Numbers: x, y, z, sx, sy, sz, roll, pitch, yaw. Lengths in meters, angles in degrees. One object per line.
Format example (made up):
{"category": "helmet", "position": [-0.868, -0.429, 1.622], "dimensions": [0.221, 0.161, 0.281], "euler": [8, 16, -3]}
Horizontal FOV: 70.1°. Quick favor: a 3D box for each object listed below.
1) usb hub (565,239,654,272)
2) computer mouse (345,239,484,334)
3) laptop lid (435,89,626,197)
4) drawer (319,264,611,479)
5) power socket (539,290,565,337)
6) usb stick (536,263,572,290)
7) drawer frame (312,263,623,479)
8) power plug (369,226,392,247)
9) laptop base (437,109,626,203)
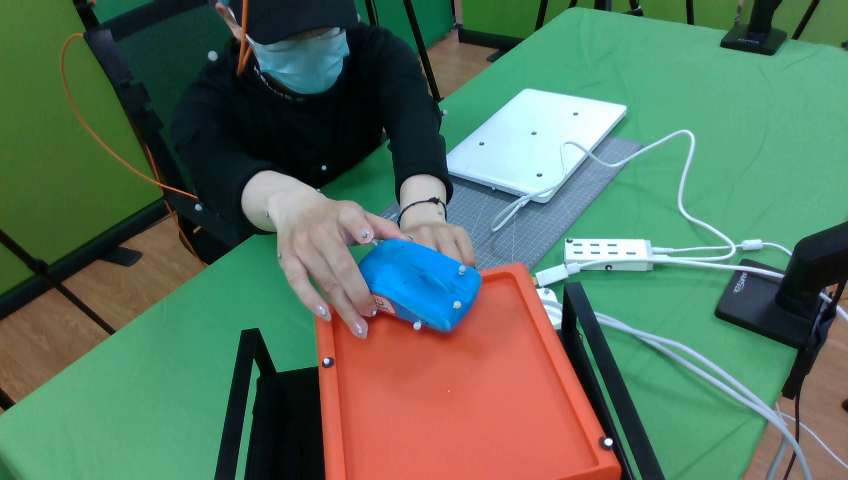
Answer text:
{"category": "usb hub", "position": [0.275, 0.022, 0.906], "dimensions": [0.125, 0.025, 0.049], "euler": [1, 41, 9]}
{"category": "computer mouse", "position": [-0.010, 0.035, 0.509], "dimensions": [0.116, 0.041, 0.063], "euler": [17, 52, 30]}
{"category": "laptop lid", "position": [0.211, -0.202, 1.165], "dimensions": [0.240, 0.013, 0.358], "euler": [21, 47, 32]}
{"category": "drawer", "position": [0.020, 0.128, 0.496], "dimensions": [0.195, 0.073, 0.210], "euler": [-10, 40, -5]}
{"category": "power socket", "position": [0.081, 0.112, 0.822], "dimensions": [0.227, 0.033, 0.072], "euler": [-7, 41, -1]}
{"category": "usb stick", "position": [0.182, 0.057, 0.876], "dimensions": [0.059, 0.021, 0.027], "euler": [-31, 0, -6]}
{"category": "drawer frame", "position": [0.021, 0.130, 0.493], "dimensions": [0.202, 0.083, 0.212], "euler": [-11, 41, -6]}
{"category": "power plug", "position": [-0.064, 0.009, 0.956], "dimensions": [0.035, 0.053, 0.072], "euler": [-25, 52, 1]}
{"category": "laptop base", "position": [0.214, -0.193, 1.172], "dimensions": [0.233, 0.023, 0.355], "euler": [19, 46, 32]}
